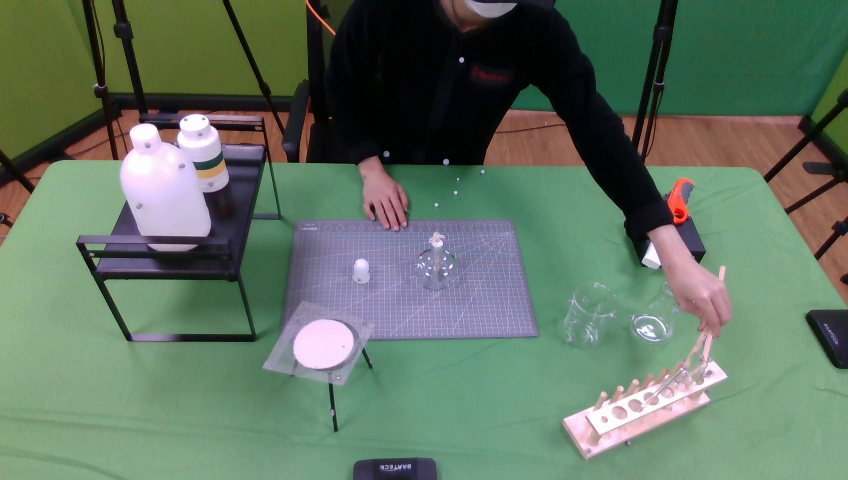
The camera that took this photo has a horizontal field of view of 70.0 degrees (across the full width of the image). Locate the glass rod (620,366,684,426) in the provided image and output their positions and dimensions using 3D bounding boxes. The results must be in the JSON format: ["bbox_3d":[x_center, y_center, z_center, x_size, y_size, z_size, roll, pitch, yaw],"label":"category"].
[{"bbox_3d":[0.322,0.227,0.866,0.008,0.200,0.008,6,51,-7],"label":"glass rod"}]

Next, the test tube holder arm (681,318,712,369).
[{"bbox_3d":[0.414,0.156,0.914,0.010,0.015,0.087,32,77,27],"label":"test tube holder arm"}]

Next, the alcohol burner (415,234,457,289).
[{"bbox_3d":[0.022,0.034,1.100,0.078,0.120,0.077,1,47,0],"label":"alcohol burner"}]

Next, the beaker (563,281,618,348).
[{"bbox_3d":[0.283,0.129,1.041,0.074,0.101,0.083,11,46,7],"label":"beaker"}]

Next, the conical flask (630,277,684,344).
[{"bbox_3d":[0.408,0.117,1.045,0.075,0.122,0.075,2,46,-2],"label":"conical flask"}]

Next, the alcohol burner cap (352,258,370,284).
[{"bbox_3d":[-0.117,0.055,1.118,0.034,0.048,0.033,1,45,-1],"label":"alcohol burner cap"}]

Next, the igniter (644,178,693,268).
[{"bbox_3d":[0.488,-0.042,1.204,0.057,0.025,0.276,30,51,10],"label":"igniter"}]

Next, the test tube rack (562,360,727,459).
[{"bbox_3d":[0.341,0.247,0.940,0.243,0.085,0.066,-16,49,-18],"label":"test tube rack"}]

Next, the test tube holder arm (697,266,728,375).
[{"bbox_3d":[0.440,0.120,0.923,0.013,0.015,0.178,16,71,22],"label":"test tube holder arm"}]

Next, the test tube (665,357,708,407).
[{"bbox_3d":[0.387,0.216,0.905,0.017,0.151,0.017,1,53,-1],"label":"test tube"}]

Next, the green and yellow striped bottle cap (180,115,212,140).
[{"bbox_3d":[-0.358,-0.177,0.951,0.045,0.020,0.045,1,43,-1],"label":"green and yellow striped bottle cap"}]

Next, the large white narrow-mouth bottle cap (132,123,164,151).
[{"bbox_3d":[-0.370,-0.138,0.812,0.038,0.024,0.037,3,45,-3],"label":"large white narrow-mouth bottle cap"}]

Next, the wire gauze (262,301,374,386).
[{"bbox_3d":[-0.150,0.148,0.873,0.121,0.011,0.124,14,46,12],"label":"wire gauze"}]

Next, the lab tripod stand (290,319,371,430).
[{"bbox_3d":[-0.146,0.194,0.923,0.148,0.132,0.147,1,47,-1],"label":"lab tripod stand"}]

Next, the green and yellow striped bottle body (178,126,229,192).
[{"bbox_3d":[-0.361,-0.142,0.989,0.063,0.120,0.063,2,46,-2],"label":"green and yellow striped bottle body"}]

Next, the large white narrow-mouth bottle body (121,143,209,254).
[{"bbox_3d":[-0.377,-0.077,0.875,0.102,0.195,0.101,3,45,-3],"label":"large white narrow-mouth bottle body"}]
